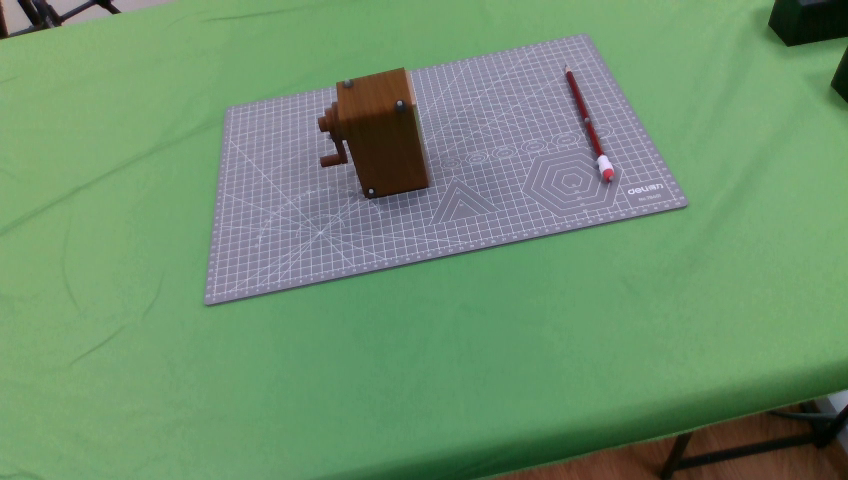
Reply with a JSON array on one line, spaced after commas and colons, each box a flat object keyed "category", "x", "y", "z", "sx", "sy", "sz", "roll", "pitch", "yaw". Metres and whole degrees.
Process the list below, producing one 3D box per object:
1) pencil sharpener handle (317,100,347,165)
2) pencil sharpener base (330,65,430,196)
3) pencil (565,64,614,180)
[{"category": "pencil sharpener handle", "x": -0.093, "y": -0.099, "z": 0.576, "sx": 0.030, "sy": 0.068, "sz": 0.035, "roll": -12, "pitch": 50, "yaw": 1}, {"category": "pencil sharpener base", "x": -0.041, "y": -0.102, "z": 0.585, "sx": 0.077, "sy": 0.108, "sz": 0.060, "roll": -12, "pitch": 50, "yaw": 1}, {"category": "pencil", "x": 0.169, "y": -0.131, "z": 0.635, "sx": 0.012, "sy": 0.012, "sz": 0.192, "roll": -8, "pitch": 49, "yaw": 4}]
